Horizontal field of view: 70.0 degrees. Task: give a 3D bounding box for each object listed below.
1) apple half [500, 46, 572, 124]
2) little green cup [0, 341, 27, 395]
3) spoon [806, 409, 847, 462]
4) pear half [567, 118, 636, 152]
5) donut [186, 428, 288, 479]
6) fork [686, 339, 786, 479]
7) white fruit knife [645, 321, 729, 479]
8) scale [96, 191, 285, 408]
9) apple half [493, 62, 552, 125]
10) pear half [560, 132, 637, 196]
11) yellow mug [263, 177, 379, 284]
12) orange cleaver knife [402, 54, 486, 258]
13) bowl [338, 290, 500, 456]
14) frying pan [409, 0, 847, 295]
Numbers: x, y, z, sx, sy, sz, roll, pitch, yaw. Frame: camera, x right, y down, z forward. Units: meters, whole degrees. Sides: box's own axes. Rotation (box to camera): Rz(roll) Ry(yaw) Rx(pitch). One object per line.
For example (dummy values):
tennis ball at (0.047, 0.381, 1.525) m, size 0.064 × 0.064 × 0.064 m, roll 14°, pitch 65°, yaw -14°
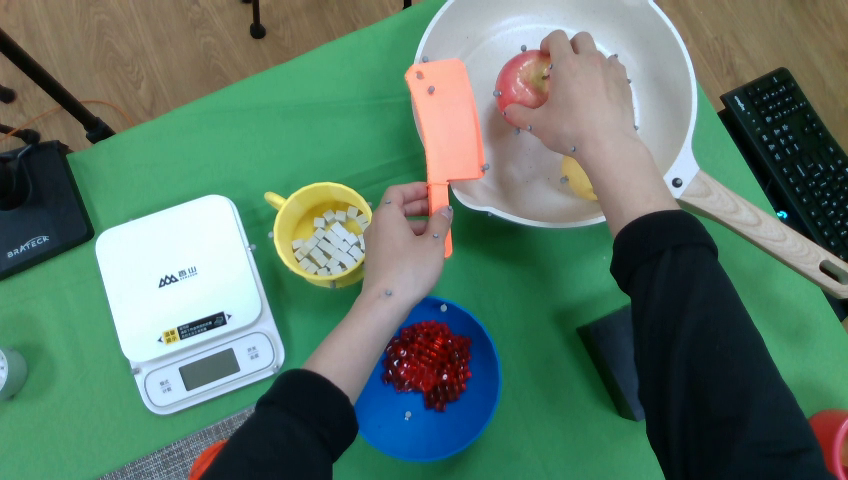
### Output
apple half at (0.121, -0.166, 0.629) m, size 0.053 × 0.075 × 0.080 m, roll -43°, pitch 82°, yaw -8°
little green cup at (-0.437, 0.130, 0.609) m, size 0.061 × 0.039 × 0.061 m, roll 0°, pitch 79°, yaw 0°
spoon at (0.432, 0.226, 0.543) m, size 0.041 × 0.022 × 0.191 m, roll -29°, pitch 36°, yaw -6°
pear half at (0.186, -0.110, 0.627) m, size 0.070 × 0.088 × 0.031 m, roll 14°, pitch 83°, yaw 6°
donut at (-0.180, 0.232, 0.585) m, size 0.099 × 0.048 × 0.098 m, roll 0°, pitch 81°, yaw 1°
fork at (0.317, 0.185, 0.590) m, size 0.028 × 0.018 × 0.208 m, roll -34°, pitch 97°, yaw -8°
white fruit knife at (0.256, 0.170, 0.585) m, size 0.016 × 0.027 × 0.207 m, roll -26°, pitch 95°, yaw -4°
scale at (-0.242, 0.059, 0.627) m, size 0.149 × 0.031 × 0.200 m, roll -20°, pitch 81°, yaw -4°
apple half at (0.094, -0.141, 0.624) m, size 0.033 × 0.081 × 0.081 m, roll -44°, pitch 82°, yaw -5°
pear half at (0.176, -0.077, 0.610) m, size 0.076 × 0.110 × 0.056 m, roll 11°, pitch 80°, yaw 6°
yellow mug at (-0.112, -0.016, 0.624) m, size 0.130 × 0.064 × 0.100 m, roll 32°, pitch 82°, yaw 7°
orange cleaver knife at (0.024, -0.087, 0.589) m, size 0.077 × 0.012 × 0.210 m, roll -1°, pitch 77°, yaw -20°
bowl at (-0.004, 0.128, 0.593) m, size 0.151 × 0.077 × 0.151 m, roll 0°, pitch 80°, yaw -1°
frying pan at (0.211, -0.093, 0.621) m, size 0.485 × 0.103 × 0.306 m, roll 37°, pitch 82°, yaw 14°
